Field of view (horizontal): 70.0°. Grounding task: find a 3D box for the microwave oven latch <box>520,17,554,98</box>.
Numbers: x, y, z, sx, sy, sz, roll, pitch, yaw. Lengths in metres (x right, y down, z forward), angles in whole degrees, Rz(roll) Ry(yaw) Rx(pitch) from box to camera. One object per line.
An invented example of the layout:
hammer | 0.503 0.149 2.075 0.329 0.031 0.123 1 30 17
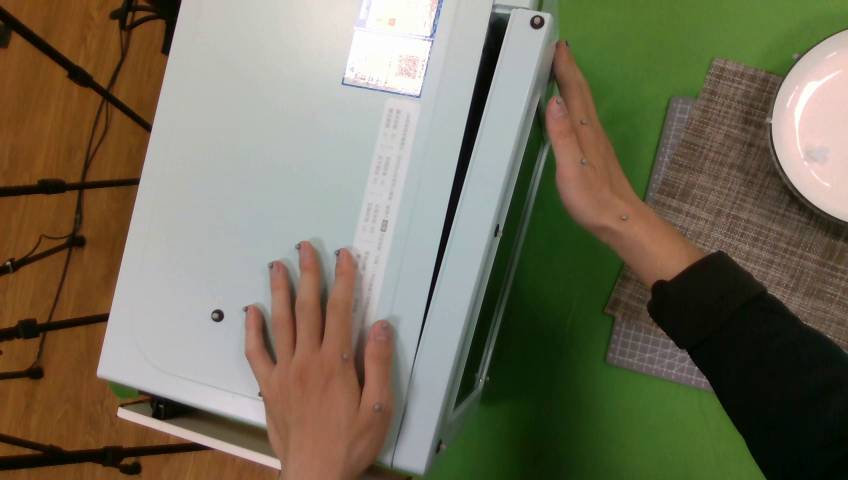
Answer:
microwave oven latch | 0.123 -0.199 0.664 0.030 0.029 0.079 12 90 13

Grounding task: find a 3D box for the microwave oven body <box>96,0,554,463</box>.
microwave oven body | -0.079 -0.064 0.604 0.325 0.261 0.441 12 90 13

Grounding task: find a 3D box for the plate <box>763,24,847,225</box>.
plate | 0.445 -0.111 0.596 0.208 0.038 0.208 -1 85 13

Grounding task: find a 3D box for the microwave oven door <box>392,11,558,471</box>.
microwave oven door | 0.058 0.008 0.562 0.039 0.245 0.355 15 90 15
